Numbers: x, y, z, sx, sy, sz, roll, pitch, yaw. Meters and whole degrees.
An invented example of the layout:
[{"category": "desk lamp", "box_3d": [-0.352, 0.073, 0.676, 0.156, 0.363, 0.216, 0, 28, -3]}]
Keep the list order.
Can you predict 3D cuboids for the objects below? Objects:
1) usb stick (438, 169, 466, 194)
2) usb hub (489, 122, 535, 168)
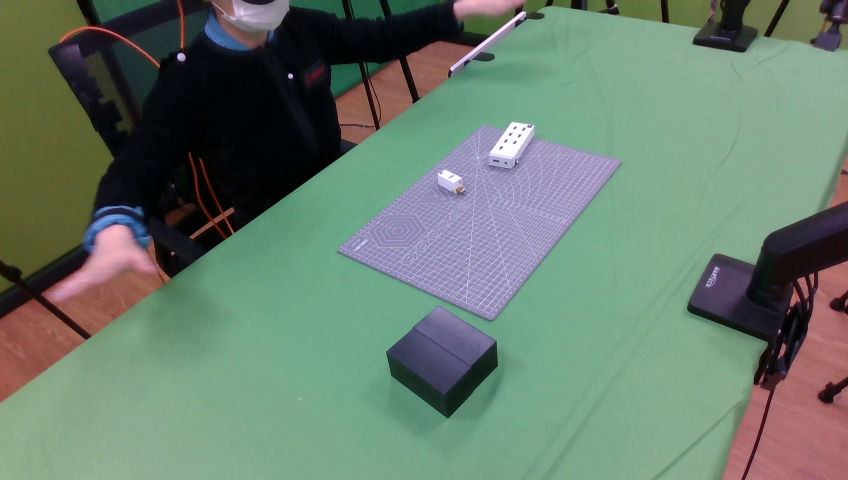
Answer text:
[{"category": "usb stick", "box_3d": [0.051, -0.102, 1.073, 0.021, 0.027, 0.058, -32, 49, -28]}, {"category": "usb hub", "box_3d": [0.169, -0.182, 1.149, 0.049, 0.025, 0.125, 15, 46, 23]}]
